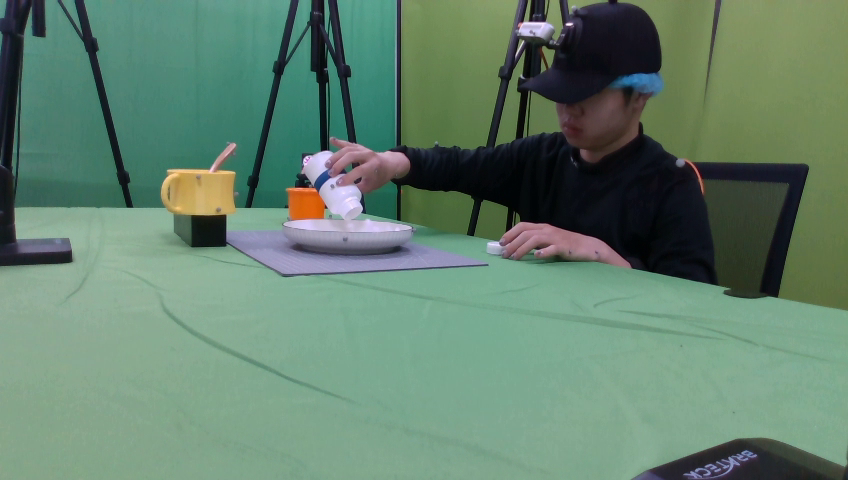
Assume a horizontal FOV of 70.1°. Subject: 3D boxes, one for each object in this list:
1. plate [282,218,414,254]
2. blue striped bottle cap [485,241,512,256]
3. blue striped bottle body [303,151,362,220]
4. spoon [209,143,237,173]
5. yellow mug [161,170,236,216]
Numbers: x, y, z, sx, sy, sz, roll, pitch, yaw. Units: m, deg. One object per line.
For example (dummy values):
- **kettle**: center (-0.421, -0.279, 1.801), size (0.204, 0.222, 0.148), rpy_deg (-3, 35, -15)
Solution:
- **plate**: center (-0.121, -0.007, 0.971), size (0.208, 0.039, 0.207), rpy_deg (2, 7, 0)
- **blue striped bottle cap**: center (0.123, 0.015, 1.000), size (0.044, 0.020, 0.044), rpy_deg (6, 7, 0)
- **blue striped bottle body**: center (-0.154, -0.091, 1.050), size (0.063, 0.063, 0.120), rpy_deg (-8, 57, -55)
- **spoon**: center (-0.341, -0.113, 0.990), size (0.041, 0.021, 0.193), rpy_deg (1, 40, 7)
- **yellow mug**: center (-0.354, -0.074, 0.935), size (0.099, 0.064, 0.131), rpy_deg (5, 9, 21)
